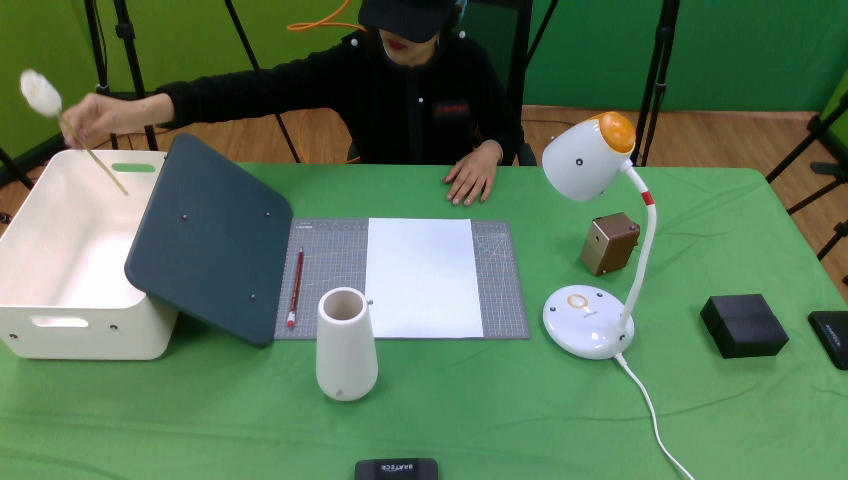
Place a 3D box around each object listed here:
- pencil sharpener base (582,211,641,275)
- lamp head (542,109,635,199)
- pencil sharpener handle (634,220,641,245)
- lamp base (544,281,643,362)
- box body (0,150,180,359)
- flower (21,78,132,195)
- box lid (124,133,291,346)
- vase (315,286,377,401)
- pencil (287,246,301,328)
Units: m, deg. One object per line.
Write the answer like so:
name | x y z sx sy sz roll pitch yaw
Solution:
pencil sharpener base | 0.357 0.005 1.155 0.077 0.107 0.061 -15 48 -18
lamp head | 0.253 -0.131 0.893 0.113 0.123 0.112 10 66 -24
pencil sharpener handle | 0.405 -0.015 1.161 0.031 0.068 0.035 -15 44 -18
lamp base | 0.304 0.095 1.014 0.161 0.181 0.178 -24 54 -24
box body | -0.541 0.021 1.042 0.254 0.161 0.361 1 46 -3
flower | -0.538 -0.144 0.975 0.038 0.362 0.044 -28 76 -14
box lid | -0.356 -0.012 1.064 0.015 0.265 0.369 -33 39 26
vase | -0.119 0.159 0.911 0.098 0.201 0.097 2 47 -2
pencil | -0.236 0.080 1.106 0.012 0.012 0.193 0 45 -4
